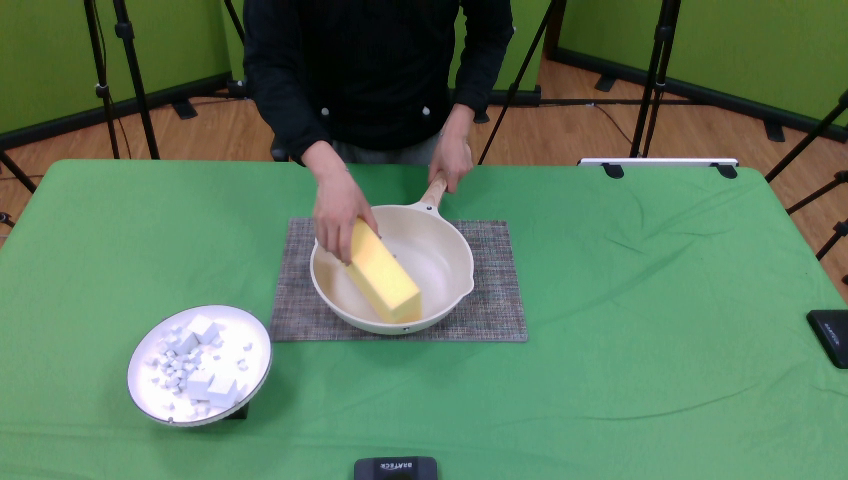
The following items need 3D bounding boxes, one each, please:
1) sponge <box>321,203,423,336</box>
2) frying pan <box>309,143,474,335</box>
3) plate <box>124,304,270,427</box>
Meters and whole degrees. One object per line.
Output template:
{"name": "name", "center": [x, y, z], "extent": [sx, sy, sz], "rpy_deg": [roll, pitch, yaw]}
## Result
{"name": "sponge", "center": [-0.088, 0.051, 1.037], "extent": [0.061, 0.119, 0.206], "rpy_deg": [-34, 67, -16]}
{"name": "frying pan", "center": [-0.017, -0.022, 1.155], "extent": [0.306, 0.103, 0.486], "rpy_deg": [20, 57, 13]}
{"name": "plate", "center": [-0.336, 0.189, 0.913], "extent": [0.208, 0.039, 0.206], "rpy_deg": [1, 46, -1]}
